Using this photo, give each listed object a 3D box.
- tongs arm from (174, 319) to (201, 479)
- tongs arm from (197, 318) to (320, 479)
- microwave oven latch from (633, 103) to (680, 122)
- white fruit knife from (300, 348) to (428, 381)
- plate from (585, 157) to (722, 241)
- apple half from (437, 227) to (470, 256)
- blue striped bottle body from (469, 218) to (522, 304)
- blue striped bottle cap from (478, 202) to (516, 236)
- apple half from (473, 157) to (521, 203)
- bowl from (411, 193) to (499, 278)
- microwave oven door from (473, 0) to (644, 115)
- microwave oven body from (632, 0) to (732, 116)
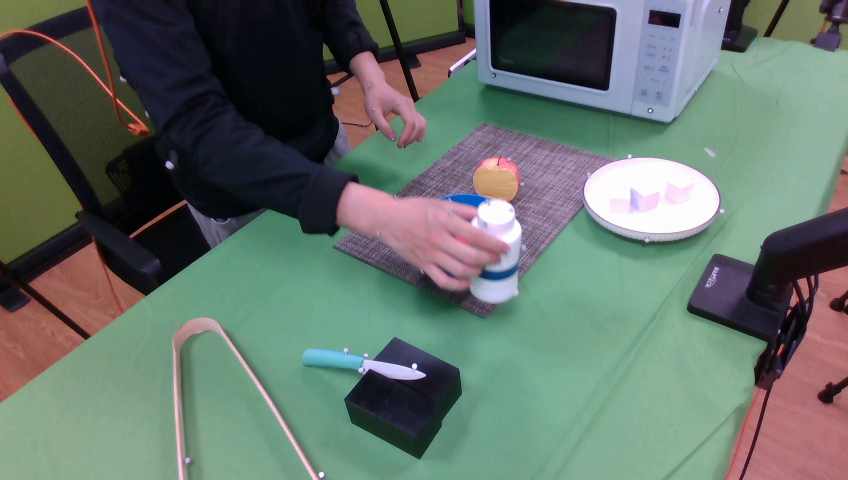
[{"bbox_3d":[-0.272,0.234,0.723,0.051,0.026,0.381,-18,40,-15],"label":"tongs arm"},{"bbox_3d":[-0.199,0.207,0.751,0.028,0.028,0.384,-31,45,-22],"label":"tongs arm"},{"bbox_3d":[0.444,-0.249,1.157,0.078,0.029,0.030,21,49,30],"label":"microwave oven latch"},{"bbox_3d":[-0.079,0.154,0.748,0.206,0.027,0.016,0,21,34],"label":"white fruit knife"},{"bbox_3d":[0.367,-0.063,0.979,0.207,0.039,0.206,-4,40,4],"label":"plate"},{"bbox_3d":[0.057,0.001,0.901,0.081,0.033,0.081,-2,40,2],"label":"apple half"},{"bbox_3d":[0.086,0.015,0.733,0.063,0.121,0.063,-3,41,3],"label":"blue striped bottle body"},{"bbox_3d":[0.084,-0.025,0.700,0.044,0.021,0.044,-2,36,2],"label":"blue striped bottle cap"},{"bbox_3d":[0.128,-0.107,1.030,0.080,0.075,0.053,4,38,19],"label":"apple half"},{"bbox_3d":[0.058,0.004,0.905,0.151,0.077,0.150,-3,40,3],"label":"bowl"},{"bbox_3d":[0.257,-0.396,1.199,0.353,0.245,0.039,21,48,29],"label":"microwave oven door"},{"bbox_3d":[0.377,-0.462,1.267,0.438,0.261,0.327,21,49,30],"label":"microwave oven body"}]
